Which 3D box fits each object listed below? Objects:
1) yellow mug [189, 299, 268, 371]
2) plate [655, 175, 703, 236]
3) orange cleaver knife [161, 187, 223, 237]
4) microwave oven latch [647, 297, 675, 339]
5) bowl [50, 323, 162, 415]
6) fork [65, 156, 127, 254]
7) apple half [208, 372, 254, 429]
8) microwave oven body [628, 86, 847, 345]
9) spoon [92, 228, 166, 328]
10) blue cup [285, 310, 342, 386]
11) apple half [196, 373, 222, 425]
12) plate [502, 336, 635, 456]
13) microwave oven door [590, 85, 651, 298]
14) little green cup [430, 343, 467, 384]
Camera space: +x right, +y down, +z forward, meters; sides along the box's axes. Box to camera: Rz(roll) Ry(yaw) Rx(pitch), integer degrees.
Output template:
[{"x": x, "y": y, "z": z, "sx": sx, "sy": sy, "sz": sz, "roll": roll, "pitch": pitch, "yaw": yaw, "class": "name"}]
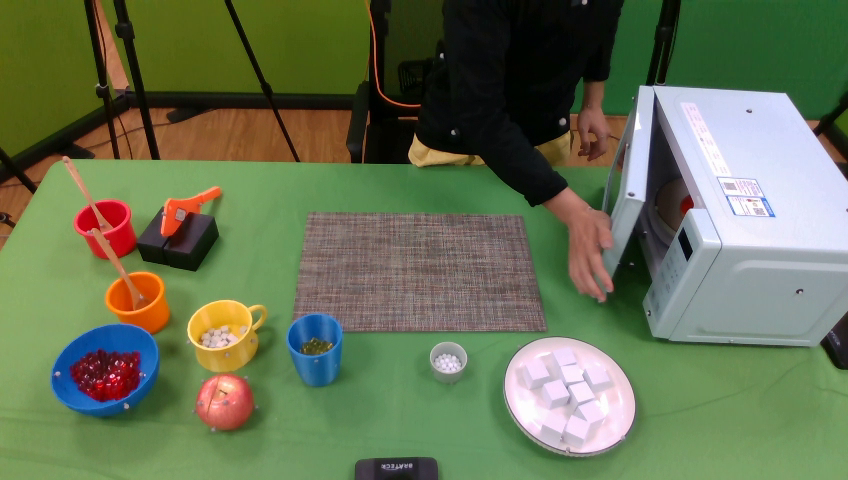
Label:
[{"x": -0.316, "y": 0.148, "z": 1.002, "sx": 0.131, "sy": 0.064, "sz": 0.099, "roll": -33, "pitch": 56, "yaw": -31, "class": "yellow mug"}, {"x": 0.554, "y": -0.046, "z": 1.184, "sx": 0.209, "sy": 0.038, "sz": 0.208, "roll": 2, "pitch": 47, "yaw": -2, "class": "plate"}, {"x": -0.448, "y": -0.058, "z": 1.180, "sx": 0.012, "sy": 0.077, "sz": 0.211, "roll": 13, "pitch": 17, "yaw": 6, "class": "orange cleaver knife"}, {"x": 0.413, "y": 0.134, "z": 1.060, "sx": 0.030, "sy": 0.029, "sz": 0.078, "roll": 5, "pitch": 45, "yaw": 2, "class": "microwave oven latch"}, {"x": -0.472, "y": 0.209, "z": 0.924, "sx": 0.151, "sy": 0.077, "sz": 0.150, "roll": 3, "pitch": 45, "yaw": -2, "class": "bowl"}, {"x": -0.614, "y": -0.064, "z": 1.130, "sx": 0.028, "sy": 0.018, "sz": 0.207, "roll": -29, "pitch": 97, "yaw": -17, "class": "fork"}, {"x": -0.282, "y": 0.244, "z": 0.908, "sx": 0.053, "sy": 0.075, "sz": 0.080, "roll": 7, "pitch": 43, "yaw": -1, "class": "apple half"}, {"x": 0.567, "y": -0.053, "z": 1.118, "sx": 0.326, "sy": 0.261, "sz": 0.439, "roll": 2, "pitch": 45, "yaw": -1, "class": "microwave oven body"}, {"x": -0.495, "y": 0.062, "z": 1.015, "sx": 0.041, "sy": 0.194, "sz": 0.021, "roll": -34, "pitch": 13, "yaw": -32, "class": "spoon"}, {"x": -0.169, "y": 0.179, "z": 0.958, "sx": 0.093, "sy": 0.101, "sz": 0.092, "roll": 1, "pitch": 44, "yaw": -1, "class": "blue cup"}, {"x": -0.322, "y": 0.239, "z": 0.907, "sx": 0.033, "sy": 0.081, "sz": 0.081, "roll": 7, "pitch": 46, "yaw": -1, "class": "apple half"}, {"x": 0.225, "y": 0.248, "z": 0.963, "sx": 0.208, "sy": 0.039, "sz": 0.206, "roll": 2, "pitch": 46, "yaw": -2, "class": "plate"}, {"x": 0.377, "y": -0.101, "z": 1.144, "sx": 0.039, "sy": 0.245, "sz": 0.354, "roll": 14, "pitch": 47, "yaw": 10, "class": "microwave oven door"}, {"x": 0.039, "y": 0.203, "z": 0.993, "sx": 0.061, "sy": 0.039, "sz": 0.061, "roll": 2, "pitch": 46, "yaw": -2, "class": "little green cup"}]
